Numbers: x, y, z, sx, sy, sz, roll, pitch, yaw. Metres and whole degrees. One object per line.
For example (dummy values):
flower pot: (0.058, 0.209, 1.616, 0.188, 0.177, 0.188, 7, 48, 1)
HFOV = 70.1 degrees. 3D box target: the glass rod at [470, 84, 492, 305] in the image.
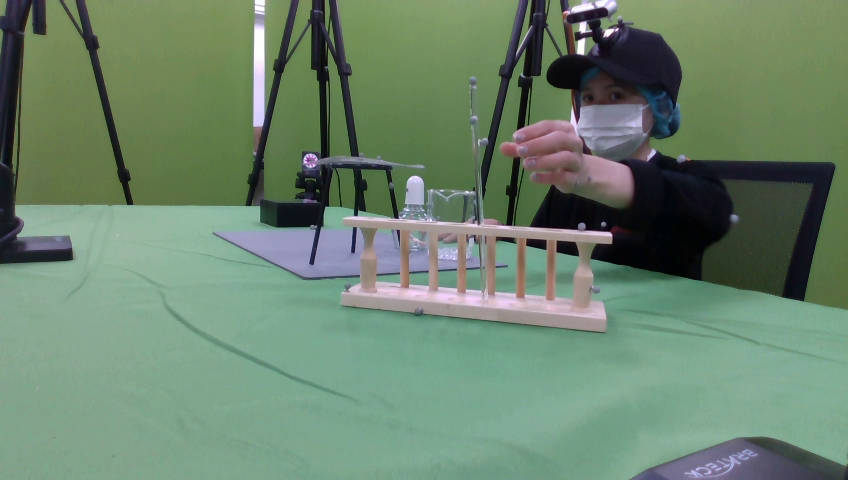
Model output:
glass rod: (0.050, -0.036, 0.535, 0.008, 0.199, 0.008, -5, 10, 1)

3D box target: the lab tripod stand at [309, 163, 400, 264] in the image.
lab tripod stand: (-0.091, -0.037, 0.813, 0.148, 0.131, 0.148, 1, 6, 0)

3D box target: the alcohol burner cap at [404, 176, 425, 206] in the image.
alcohol burner cap: (-0.015, -0.077, 0.951, 0.034, 0.048, 0.034, 2, 4, 0)

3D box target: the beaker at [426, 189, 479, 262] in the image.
beaker: (0.039, -0.022, 0.871, 0.074, 0.100, 0.084, 4, 8, 12)

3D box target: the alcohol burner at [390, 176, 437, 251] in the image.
alcohol burner: (-0.016, -0.042, 0.955, 0.078, 0.119, 0.078, 4, 5, 0)

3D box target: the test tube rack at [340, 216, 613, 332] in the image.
test tube rack: (0.048, 0.026, 0.568, 0.242, 0.085, 0.067, 4, 8, 13)

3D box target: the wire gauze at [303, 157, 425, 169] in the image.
wire gauze: (-0.082, -0.102, 0.799, 0.126, 0.011, 0.121, -1, 7, -30)
